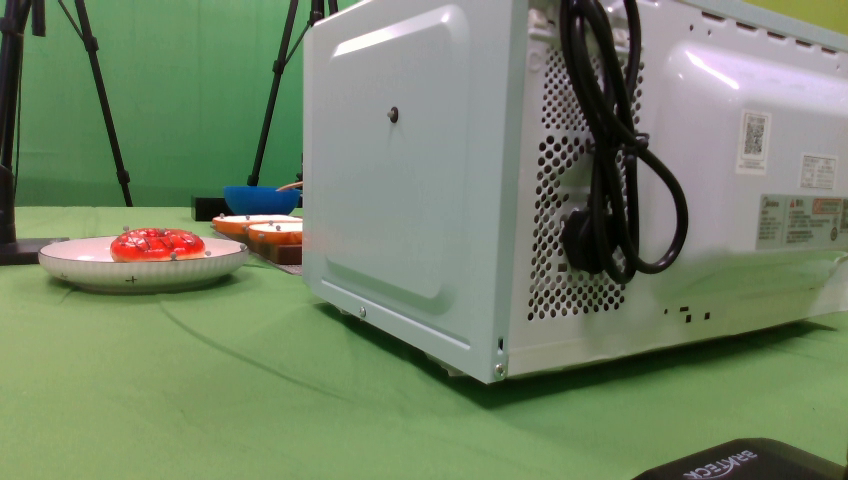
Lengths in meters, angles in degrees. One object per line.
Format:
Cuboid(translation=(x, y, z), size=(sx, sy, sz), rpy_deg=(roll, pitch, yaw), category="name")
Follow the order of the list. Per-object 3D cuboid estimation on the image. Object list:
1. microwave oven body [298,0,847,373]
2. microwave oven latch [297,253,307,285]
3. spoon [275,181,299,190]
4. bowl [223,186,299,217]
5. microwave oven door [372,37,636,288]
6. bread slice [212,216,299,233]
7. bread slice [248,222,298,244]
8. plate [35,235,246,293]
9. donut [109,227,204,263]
Cuboid(translation=(0.151, -0.055, 0.543), size=(0.444, 0.260, 0.324), rpy_deg=(-1, 7, -33), category="microwave oven body")
Cuboid(translation=(-0.082, 0.027, 0.582), size=(0.079, 0.029, 0.030), rpy_deg=(-1, 7, -32), category="microwave oven latch")
Cuboid(translation=(-0.301, -0.102, 1.260), size=(0.041, 0.021, 0.194), rpy_deg=(13, 30, 33), category="spoon")
Cuboid(translation=(-0.330, -0.067, 1.230), size=(0.151, 0.077, 0.151), rpy_deg=(3, 7, 0), category="bowl")
Cuboid(translation=(0.110, -0.080, 0.687), size=(0.358, 0.243, 0.039), rpy_deg=(-2, 9, -33), category="microwave oven door")
Cuboid(translation=(-0.256, -0.025, 0.936), size=(0.132, 0.019, 0.104), rpy_deg=(-4, 8, -40), category="bread slice")
Cuboid(translation=(-0.174, -0.012, 0.844), size=(0.135, 0.018, 0.106), rpy_deg=(-6, 10, -44), category="bread slice")
Cuboid(translation=(-0.305, 0.026, 0.668), size=(0.208, 0.039, 0.207), rpy_deg=(2, 7, 0), category="plate")
Cuboid(translation=(-0.298, 0.012, 0.679), size=(0.099, 0.048, 0.099), rpy_deg=(4, 10, 0), category="donut")
